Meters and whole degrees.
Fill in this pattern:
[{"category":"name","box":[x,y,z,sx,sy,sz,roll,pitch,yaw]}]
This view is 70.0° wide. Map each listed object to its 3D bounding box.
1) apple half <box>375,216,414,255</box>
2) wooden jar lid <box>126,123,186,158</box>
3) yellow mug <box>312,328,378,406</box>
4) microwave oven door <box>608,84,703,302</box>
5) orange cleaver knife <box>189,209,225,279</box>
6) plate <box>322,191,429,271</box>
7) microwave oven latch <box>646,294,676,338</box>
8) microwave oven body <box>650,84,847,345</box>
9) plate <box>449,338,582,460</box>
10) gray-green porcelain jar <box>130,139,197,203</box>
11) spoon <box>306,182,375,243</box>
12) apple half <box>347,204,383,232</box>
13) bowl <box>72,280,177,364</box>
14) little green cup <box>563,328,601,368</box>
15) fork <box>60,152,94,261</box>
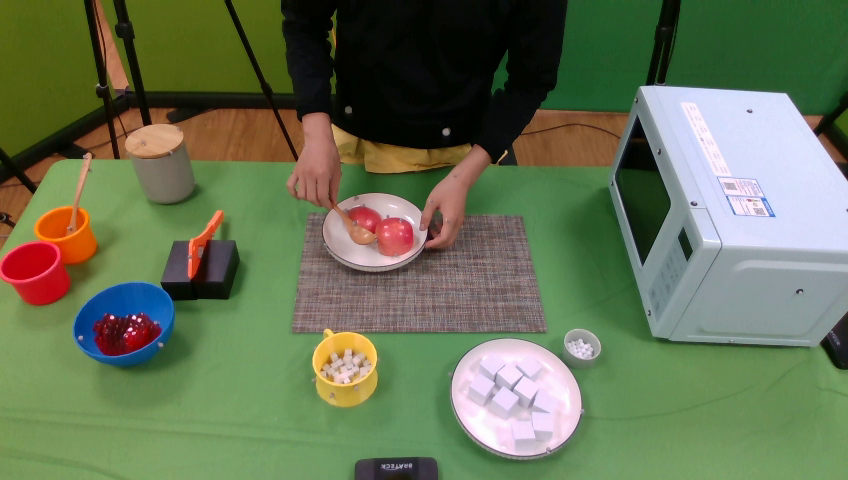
[{"category":"apple half","box":[-0.056,-0.017,1.168,0.075,0.053,0.080,0,46,-7]},{"category":"wooden jar lid","box":[-0.519,-0.190,1.179,0.108,0.021,0.107,2,44,-2]},{"category":"yellow mug","box":[-0.132,0.193,0.971,0.100,0.064,0.130,-22,51,-22]},{"category":"microwave oven door","box":[0.424,-0.096,1.138,0.039,0.245,0.353,2,47,-1]},{"category":"orange cleaver knife","box":[-0.401,0.002,1.122,0.012,0.077,0.210,4,23,-4]},{"category":"plate","box":[-0.094,-0.015,1.187,0.209,0.038,0.208,3,46,-2]},{"category":"microwave oven latch","box":[0.412,0.133,1.061,0.030,0.029,0.078,3,46,1]},{"category":"microwave oven body","box":[0.569,-0.054,1.116,0.326,0.261,0.439,2,46,-1]},{"category":"plate","box":[0.141,0.251,0.956,0.208,0.039,0.206,2,46,-2]},{"category":"gray-green porcelain jar","box":[-0.522,-0.148,1.225,0.106,0.127,0.105,2,47,-2]},{"category":"spoon","box":[-0.161,-0.055,1.140,0.041,0.022,0.193,-29,62,-32]},{"category":"apple half","box":[-0.119,-0.049,1.206,0.081,0.033,0.081,2,50,-2]},{"category":"bowl","box":[-0.473,0.147,0.982,0.151,0.077,0.150,2,46,-2]},{"category":"little green cup","box":[0.265,0.184,1.025,0.061,0.039,0.061,1,46,-1]},{"category":"fork","box":[-0.638,-0.063,1.119,0.028,0.018,0.207,12,90,8]}]
